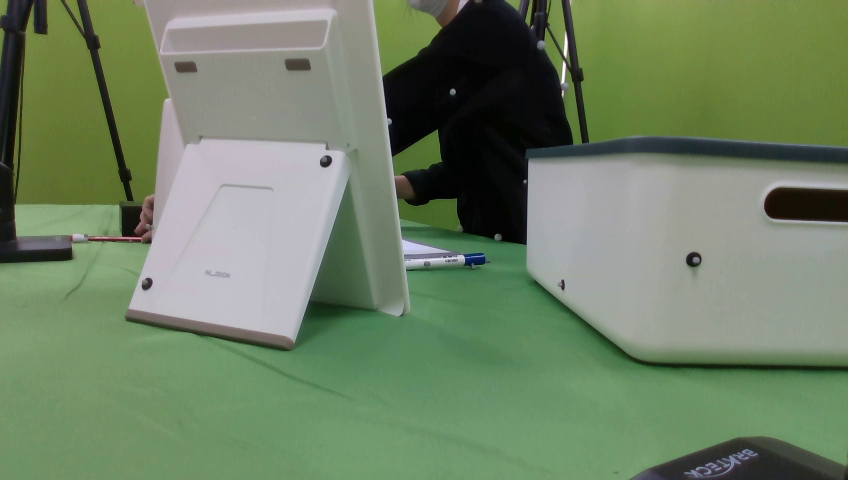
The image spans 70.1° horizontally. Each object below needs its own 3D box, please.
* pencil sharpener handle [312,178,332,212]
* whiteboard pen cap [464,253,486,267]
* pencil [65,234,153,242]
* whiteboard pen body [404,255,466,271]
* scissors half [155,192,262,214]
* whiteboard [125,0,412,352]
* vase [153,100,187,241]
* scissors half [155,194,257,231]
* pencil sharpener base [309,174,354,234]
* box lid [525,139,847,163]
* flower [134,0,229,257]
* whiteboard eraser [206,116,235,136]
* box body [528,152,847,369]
[{"bbox_3d":[-0.205,-0.088,1.179,0.036,0.067,0.030,10,2,-33],"label":"pencil sharpener handle"},{"bbox_3d":[0.066,0.027,0.818,0.033,0.018,0.018,-6,10,-23],"label":"whiteboard pen cap"},{"bbox_3d":[-0.429,-0.001,0.913,0.195,0.012,0.012,1,7,-21],"label":"pencil"},{"bbox_3d":[0.012,0.030,0.792,0.141,0.017,0.017,-3,9,-24],"label":"whiteboard pen body"},{"bbox_3d":[-0.371,-0.069,1.051,0.176,0.040,0.013,3,24,-24],"label":"scissors half"},{"bbox_3d":[-0.151,-0.049,0.471,0.216,0.305,0.144,6,27,24],"label":"whiteboard"},{"bbox_3d":[-0.278,-0.066,0.736,0.098,0.200,0.098,2,9,0],"label":"vase"},{"bbox_3d":[-0.379,-0.051,1.058,0.176,0.040,0.012,21,20,-30],"label":"scissors half"},{"bbox_3d":[-0.176,-0.069,1.139,0.062,0.107,0.076,-2,9,-32],"label":"pencil sharpener base"},{"bbox_3d":[0.261,-0.078,0.580,0.264,0.015,0.371,2,7,-4],"label":"box lid"},{"bbox_3d":[-0.282,-0.146,0.712,0.038,0.362,0.044,-23,23,-32],"label":"flower"},{"bbox_3d":[-0.450,-0.252,1.335,0.056,0.042,0.112,1,7,-22],"label":"whiteboard eraser"},{"bbox_3d":[0.257,-0.005,0.591,0.254,0.160,0.363,2,7,-4],"label":"box body"}]
